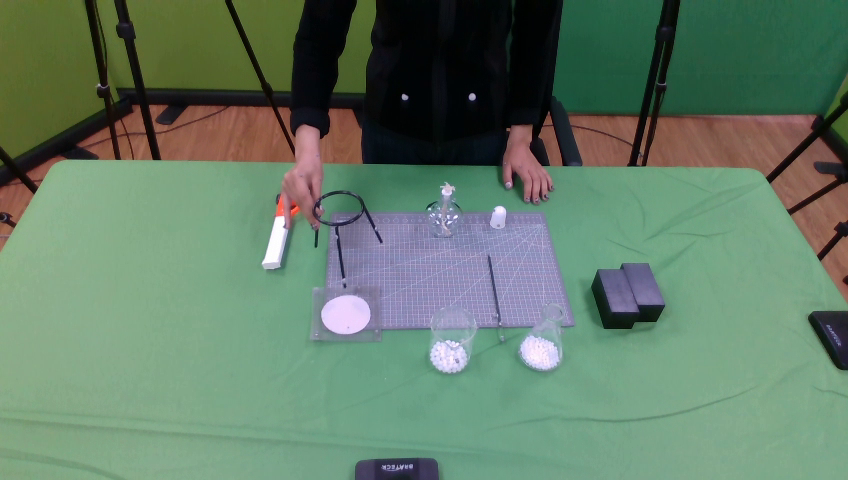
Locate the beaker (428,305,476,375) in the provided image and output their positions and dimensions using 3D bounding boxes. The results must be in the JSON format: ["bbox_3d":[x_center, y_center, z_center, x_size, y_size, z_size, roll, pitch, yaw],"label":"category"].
[{"bbox_3d":[0.044,0.169,0.987,0.074,0.101,0.083,1,47,-3],"label":"beaker"}]

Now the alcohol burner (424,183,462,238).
[{"bbox_3d":[0.039,-0.063,1.197,0.078,0.119,0.077,2,44,-2],"label":"alcohol burner"}]

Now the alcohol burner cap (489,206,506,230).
[{"bbox_3d":[0.152,-0.047,1.241,0.034,0.048,0.033,2,45,-2],"label":"alcohol burner cap"}]

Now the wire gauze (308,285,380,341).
[{"bbox_3d":[-0.141,0.128,1.071,0.125,0.011,0.120,-1,46,-5],"label":"wire gauze"}]

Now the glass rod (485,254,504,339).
[{"bbox_3d":[0.129,0.099,1.119,0.008,0.008,0.198,-1,47,-4],"label":"glass rod"}]

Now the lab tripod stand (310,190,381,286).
[{"bbox_3d":[-0.144,-0.015,1.081,0.148,0.132,0.147,-1,43,1],"label":"lab tripod stand"}]

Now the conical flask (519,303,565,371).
[{"bbox_3d":[0.201,0.155,0.997,0.075,0.122,0.075,2,46,-2],"label":"conical flask"}]

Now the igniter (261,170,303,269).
[{"bbox_3d":[-0.283,-0.050,1.222,0.057,0.025,0.275,-4,45,6],"label":"igniter"}]
